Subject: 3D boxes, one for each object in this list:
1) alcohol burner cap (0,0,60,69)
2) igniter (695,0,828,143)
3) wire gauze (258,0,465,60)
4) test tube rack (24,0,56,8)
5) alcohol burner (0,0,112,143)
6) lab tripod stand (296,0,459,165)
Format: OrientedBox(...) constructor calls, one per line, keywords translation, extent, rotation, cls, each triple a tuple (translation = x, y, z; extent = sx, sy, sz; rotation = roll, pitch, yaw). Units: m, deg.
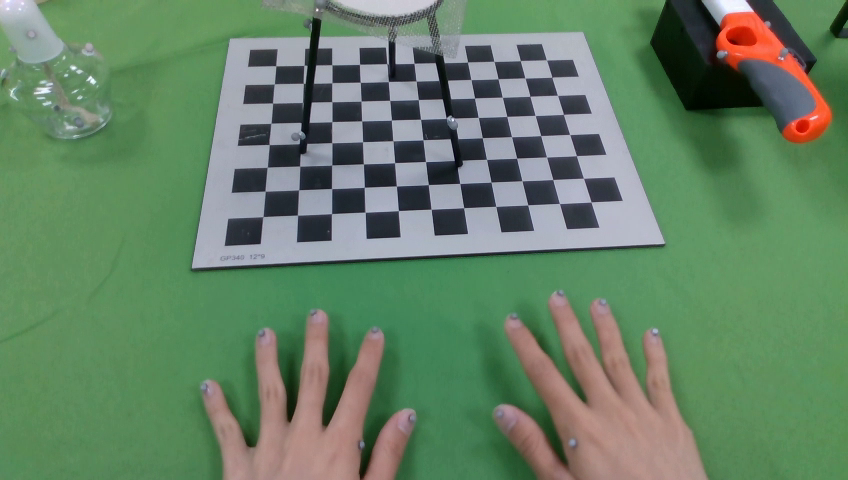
OrientedBox(translation=(-0.289, -0.150, 0.434), extent=(0.034, 0.048, 0.033), rotation=(0, 54, 1), cls="alcohol burner cap")
OrientedBox(translation=(0.267, -0.181, 0.518), extent=(0.057, 0.025, 0.273), rotation=(-5, 52, -2), cls="igniter")
OrientedBox(translation=(-0.031, -0.169, 0.399), extent=(0.125, 0.011, 0.120), rotation=(12, 53, 4), cls="wire gauze")
OrientedBox(translation=(-0.341, -0.313, 0.606), extent=(0.242, 0.086, 0.066), rotation=(-32, 62, -24), cls="test tube rack")
OrientedBox(translation=(-0.288, -0.133, 0.460), extent=(0.078, 0.120, 0.077), rotation=(0, 55, 0), cls="alcohol burner")
OrientedBox(translation=(-0.030, -0.132, 0.455), extent=(0.148, 0.132, 0.147), rotation=(3, 53, -3), cls="lab tripod stand")
